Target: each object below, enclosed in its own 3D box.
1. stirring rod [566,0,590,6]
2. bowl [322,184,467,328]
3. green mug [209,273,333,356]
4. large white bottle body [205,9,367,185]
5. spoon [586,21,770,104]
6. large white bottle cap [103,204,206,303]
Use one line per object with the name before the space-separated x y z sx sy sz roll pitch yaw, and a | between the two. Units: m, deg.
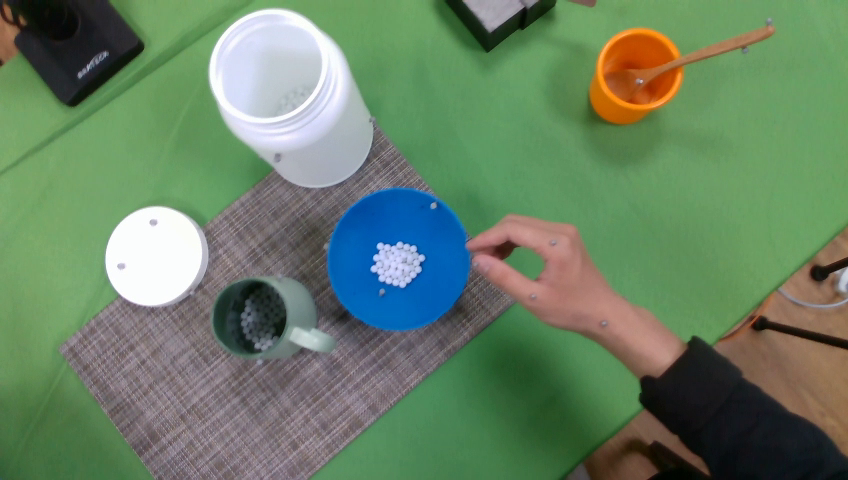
stirring rod | 0.100 -0.291 0.676 0.176 0.006 0.014 17 119 3
bowl | -0.029 0.020 0.662 0.151 0.077 0.151 0 85 2
green mug | -0.156 0.086 0.646 0.125 0.105 0.092 23 84 4
large white bottle body | -0.137 -0.141 0.628 0.130 0.185 0.130 -1 80 4
spoon | 0.260 -0.188 0.643 0.022 0.193 0.041 6 77 -42
large white bottle cap | -0.312 0.016 0.702 0.115 0.018 0.114 0 83 2
